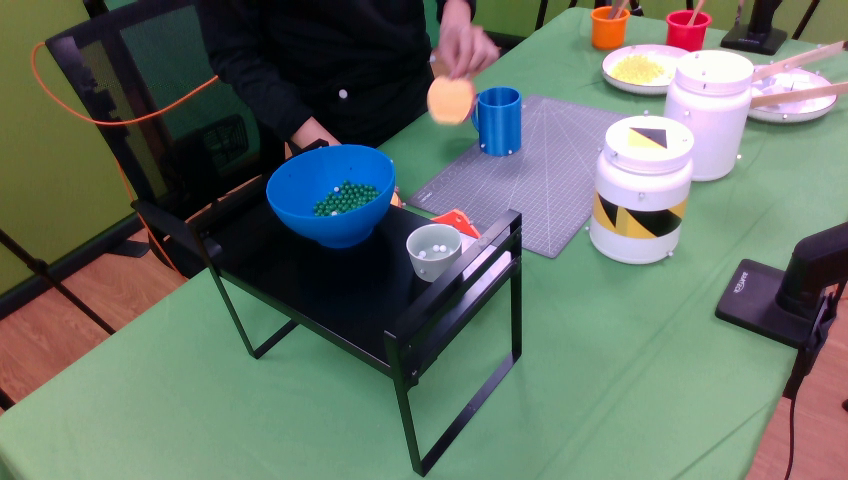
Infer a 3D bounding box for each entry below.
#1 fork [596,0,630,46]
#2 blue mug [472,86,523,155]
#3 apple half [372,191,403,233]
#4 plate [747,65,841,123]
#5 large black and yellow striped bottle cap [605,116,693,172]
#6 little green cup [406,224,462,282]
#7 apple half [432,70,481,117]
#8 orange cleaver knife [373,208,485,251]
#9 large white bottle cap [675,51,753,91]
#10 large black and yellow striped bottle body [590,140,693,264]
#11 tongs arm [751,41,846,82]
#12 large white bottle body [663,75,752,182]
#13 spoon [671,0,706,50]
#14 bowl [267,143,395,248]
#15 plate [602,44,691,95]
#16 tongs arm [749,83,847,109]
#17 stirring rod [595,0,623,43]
[{"bbox_3d":[0.481,-0.556,1.452,0.028,0.019,0.207,41,103,41],"label":"fork"},{"bbox_3d":[0.135,-0.235,1.163,0.082,0.106,0.115,-36,48,-28],"label":"blue mug"},{"bbox_3d":[-0.062,-0.048,1.025,0.033,0.081,0.080,14,19,-46],"label":"apple half"},{"bbox_3d":[0.694,-0.283,1.189,0.207,0.039,0.206,-4,40,4],"label":"plate"},{"bbox_3d":[0.309,-0.134,0.833,0.115,0.019,0.114,-5,40,5],"label":"large black and yellow striped bottle cap"},{"bbox_3d":[0.012,0.015,0.668,0.061,0.039,0.061,-4,40,4],"label":"little green cup"},{"bbox_3d":[0.059,-0.244,1.007,0.080,0.075,0.053,7,15,21],"label":"apple half"},{"bbox_3d":[0.003,-0.010,0.935,0.209,0.077,0.012,-3,35,44],"label":"orange cleaver knife"},{"bbox_3d":[0.463,-0.271,0.967,0.115,0.018,0.114,-4,40,3],"label":"large white bottle cap"},{"bbox_3d":[0.317,-0.071,0.889,0.131,0.185,0.130,-4,41,4],"label":"large black and yellow striped bottle body"},{"bbox_3d":[0.708,-0.331,1.194,0.386,0.026,0.050,-18,45,-16],"label":"tongs arm"},{"bbox_3d":[0.472,-0.207,1.022,0.130,0.185,0.130,-4,41,4],"label":"large white bottle body"},{"bbox_3d":[0.629,-0.520,1.394,0.041,0.022,0.193,30,97,34],"label":"spoon"},{"bbox_3d":[-0.104,-0.043,0.726,0.151,0.077,0.150,-4,40,4],"label":"bowl"},{"bbox_3d":[0.495,-0.367,1.317,0.209,0.038,0.208,-4,40,4],"label":"plate"},{"bbox_3d":[0.734,-0.280,1.133,0.388,0.028,0.028,-9,47,-5],"label":"tongs arm"},{"bbox_3d":[0.460,-0.556,1.460,0.014,0.006,0.176,30,94,23],"label":"stirring rod"}]
